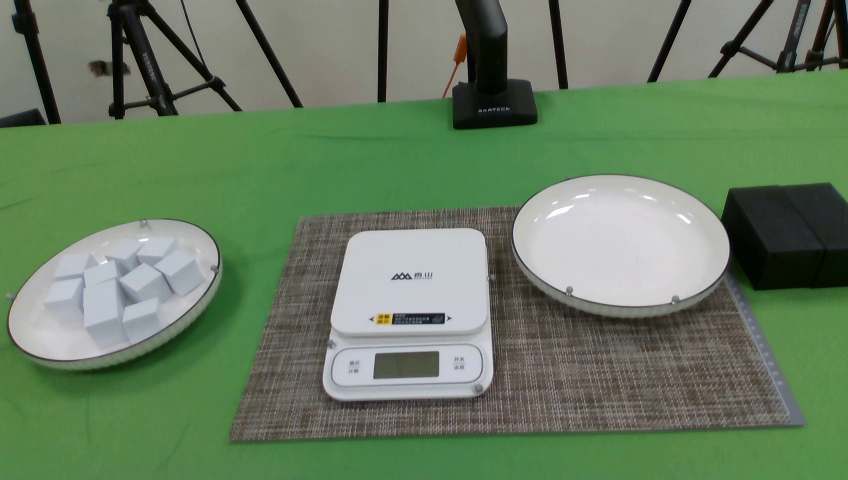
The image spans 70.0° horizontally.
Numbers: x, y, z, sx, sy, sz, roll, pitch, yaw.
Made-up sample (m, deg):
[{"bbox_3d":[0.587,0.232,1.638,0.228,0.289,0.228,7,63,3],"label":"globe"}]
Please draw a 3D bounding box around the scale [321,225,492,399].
[{"bbox_3d":[-0.013,0.060,0.578,0.148,0.032,0.199,-3,41,5],"label":"scale"}]

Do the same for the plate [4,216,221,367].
[{"bbox_3d":[-0.312,0.053,0.627,0.209,0.038,0.207,-3,40,3],"label":"plate"}]

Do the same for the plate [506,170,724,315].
[{"bbox_3d":[0.187,0.002,0.613,0.207,0.039,0.205,-4,41,3],"label":"plate"}]
